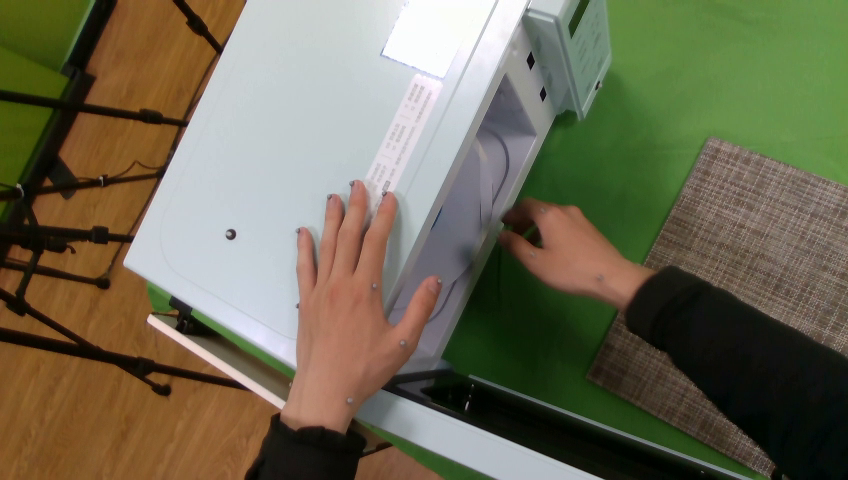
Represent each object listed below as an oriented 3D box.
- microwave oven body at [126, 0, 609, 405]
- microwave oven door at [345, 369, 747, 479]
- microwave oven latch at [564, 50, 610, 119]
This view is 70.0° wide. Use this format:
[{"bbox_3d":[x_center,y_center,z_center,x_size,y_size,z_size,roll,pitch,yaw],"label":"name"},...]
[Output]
[{"bbox_3d":[-0.047,-0.096,0.655,0.324,0.262,0.441,25,91,21],"label":"microwave oven body"},{"bbox_3d":[0.134,0.195,0.540,0.354,0.245,0.039,15,86,21],"label":"microwave oven door"},{"bbox_3d":[0.186,-0.181,0.691,0.030,0.030,0.079,26,91,21],"label":"microwave oven latch"}]
